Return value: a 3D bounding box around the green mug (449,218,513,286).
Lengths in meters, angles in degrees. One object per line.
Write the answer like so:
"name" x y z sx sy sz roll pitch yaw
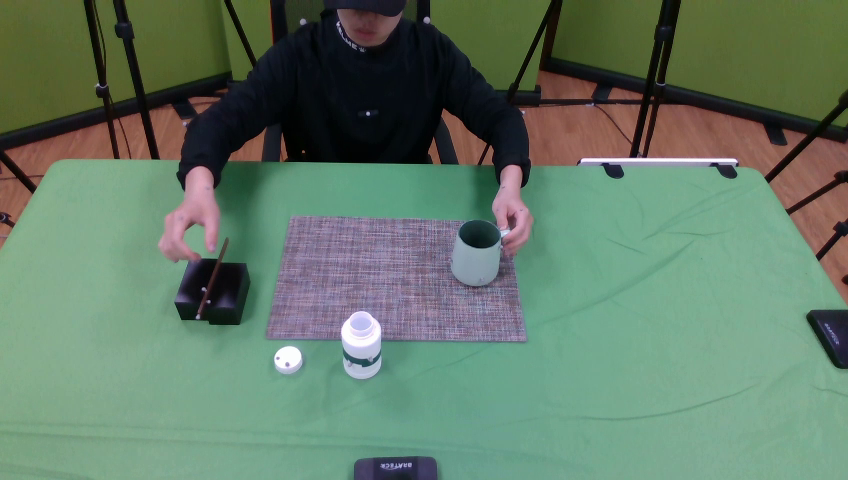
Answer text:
"green mug" 0.110 0.018 1.126 0.125 0.105 0.092 -19 50 -21

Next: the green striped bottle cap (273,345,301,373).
"green striped bottle cap" -0.225 0.195 0.997 0.044 0.020 0.044 2 50 -3

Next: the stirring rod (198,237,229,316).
"stirring rod" -0.363 0.060 1.047 0.006 0.014 0.175 7 46 -3

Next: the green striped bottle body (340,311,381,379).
"green striped bottle body" -0.101 0.164 0.964 0.063 0.120 0.063 2 46 -2
